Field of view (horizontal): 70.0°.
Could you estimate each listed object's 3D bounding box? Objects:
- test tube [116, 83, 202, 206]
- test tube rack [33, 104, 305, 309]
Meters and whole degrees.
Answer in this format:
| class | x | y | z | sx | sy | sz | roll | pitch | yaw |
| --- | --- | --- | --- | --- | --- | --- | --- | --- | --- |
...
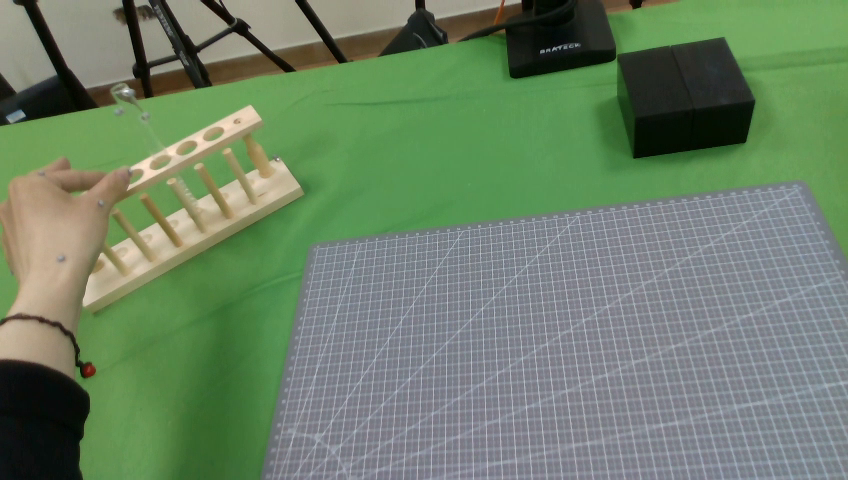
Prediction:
| class | x | y | z | sx | sy | sz | roll | pitch | yaw |
| --- | --- | --- | --- | --- | --- | --- | --- | --- | --- |
| test tube | -0.258 | -0.088 | 0.599 | 0.017 | 0.152 | 0.017 | -7 | 46 | 7 |
| test tube rack | -0.254 | -0.036 | 0.622 | 0.242 | 0.086 | 0.066 | -31 | 49 | -11 |
